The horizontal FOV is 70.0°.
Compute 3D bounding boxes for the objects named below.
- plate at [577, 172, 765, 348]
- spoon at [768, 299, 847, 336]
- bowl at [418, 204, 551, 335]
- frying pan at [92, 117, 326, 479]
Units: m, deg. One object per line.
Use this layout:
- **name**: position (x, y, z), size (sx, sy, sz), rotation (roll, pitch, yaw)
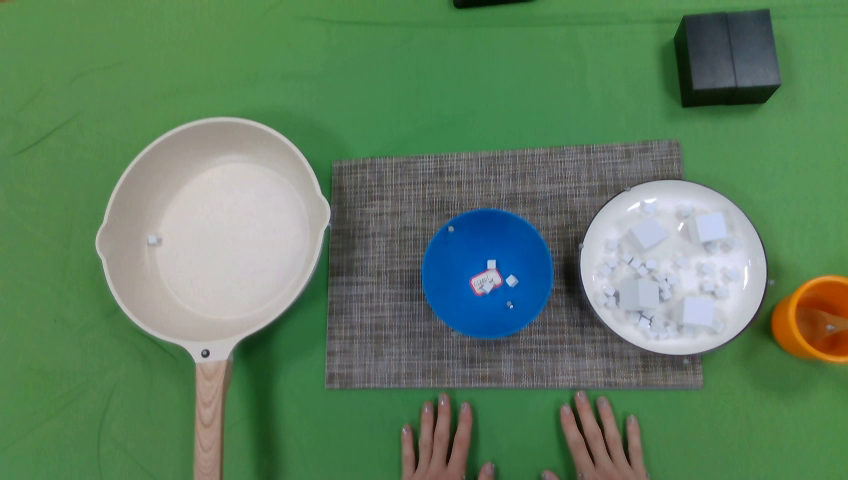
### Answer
- **plate**: position (0.285, 0.024, 0.714), size (0.207, 0.039, 0.206), rotation (-2, 78, 8)
- **spoon**: position (0.462, 0.079, 0.626), size (0.022, 0.193, 0.041), rotation (13, 76, -35)
- **bowl**: position (0.072, 0.040, 0.719), size (0.151, 0.077, 0.150), rotation (-2, 78, 8)
- **frying pan**: position (-0.260, 0.084, 0.745), size (0.306, 0.103, 0.484), rotation (-7, 69, 7)
